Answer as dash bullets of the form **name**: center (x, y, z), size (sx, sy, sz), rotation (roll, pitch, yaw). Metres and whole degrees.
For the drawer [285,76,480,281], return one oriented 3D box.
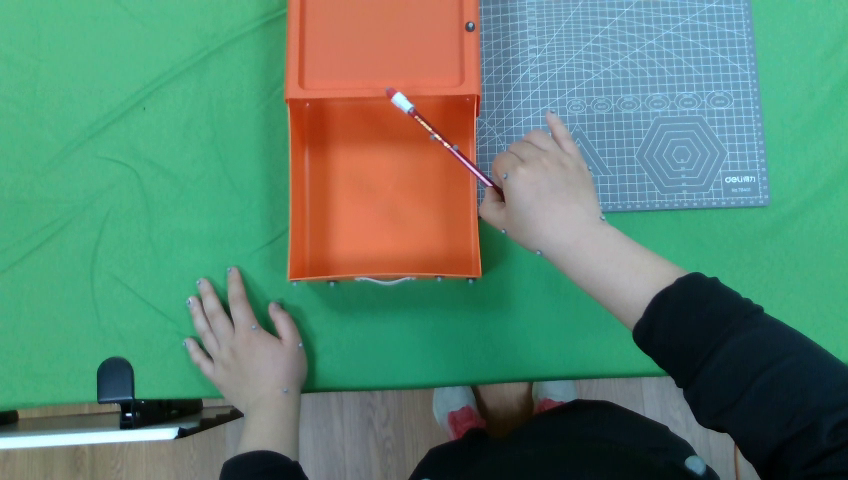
- **drawer**: center (-0.042, -0.063, 0.636), size (0.194, 0.073, 0.211), rotation (-2, 86, 3)

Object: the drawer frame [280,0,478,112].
- **drawer frame**: center (-0.046, -0.242, 0.652), size (0.201, 0.083, 0.213), rotation (-2, 82, 3)

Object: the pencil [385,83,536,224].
- **pencil**: center (0.034, -0.082, 0.573), size (0.193, 0.012, 0.012), rotation (44, 87, 5)
